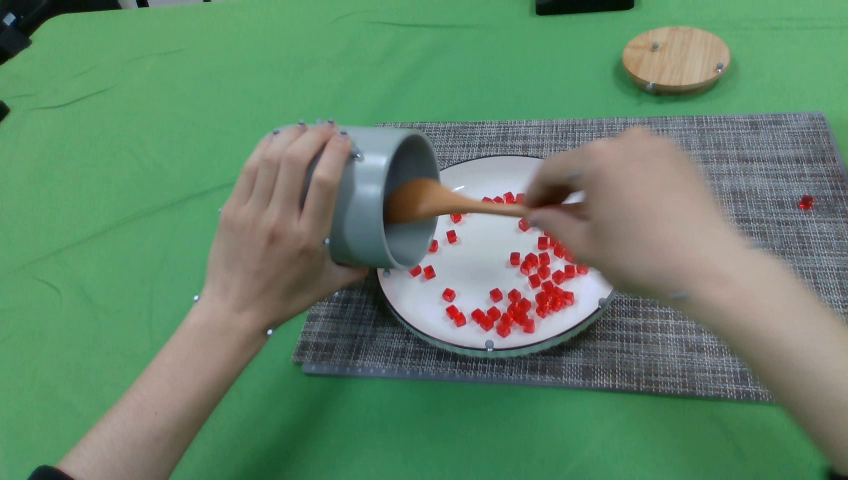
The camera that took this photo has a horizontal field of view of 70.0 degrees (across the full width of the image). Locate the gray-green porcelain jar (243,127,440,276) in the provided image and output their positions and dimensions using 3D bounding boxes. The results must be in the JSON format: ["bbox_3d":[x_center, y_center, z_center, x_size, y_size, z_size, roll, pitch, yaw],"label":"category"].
[{"bbox_3d":[-0.065,-0.032,0.469,0.126,0.107,0.105,8,53,22],"label":"gray-green porcelain jar"}]

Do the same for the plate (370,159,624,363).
[{"bbox_3d":[0.059,0.016,0.511,0.207,0.039,0.205,-6,49,7],"label":"plate"}]

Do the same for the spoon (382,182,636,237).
[{"bbox_3d":[0.046,-0.019,0.414,0.192,0.022,0.041,3,83,29],"label":"spoon"}]

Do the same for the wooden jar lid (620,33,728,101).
[{"bbox_3d":[0.267,-0.186,0.653,0.108,0.021,0.107,-6,50,7],"label":"wooden jar lid"}]
